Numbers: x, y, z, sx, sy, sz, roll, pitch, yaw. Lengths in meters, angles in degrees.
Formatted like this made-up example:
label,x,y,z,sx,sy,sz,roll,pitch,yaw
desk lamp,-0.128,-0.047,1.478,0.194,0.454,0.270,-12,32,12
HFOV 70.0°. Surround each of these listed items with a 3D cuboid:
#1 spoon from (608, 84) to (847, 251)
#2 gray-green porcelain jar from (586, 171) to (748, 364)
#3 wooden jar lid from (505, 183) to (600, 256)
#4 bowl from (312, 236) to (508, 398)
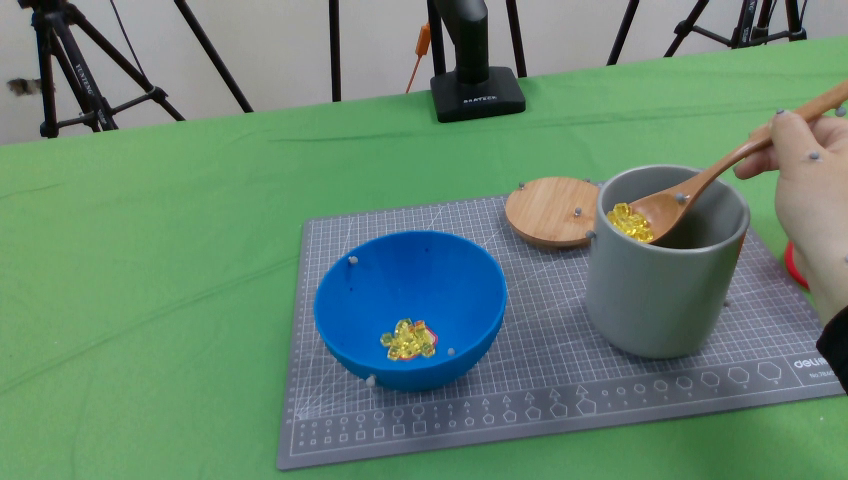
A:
label,x,y,z,sx,sy,sz,roll,pitch,yaw
spoon,0.210,-0.049,0.414,0.194,0.022,0.041,-39,38,26
gray-green porcelain jar,0.184,0.026,0.479,0.106,0.128,0.105,-4,40,4
wooden jar lid,0.138,-0.020,0.625,0.108,0.021,0.107,-4,39,4
bowl,-0.008,0.074,0.489,0.151,0.077,0.150,-4,40,4
